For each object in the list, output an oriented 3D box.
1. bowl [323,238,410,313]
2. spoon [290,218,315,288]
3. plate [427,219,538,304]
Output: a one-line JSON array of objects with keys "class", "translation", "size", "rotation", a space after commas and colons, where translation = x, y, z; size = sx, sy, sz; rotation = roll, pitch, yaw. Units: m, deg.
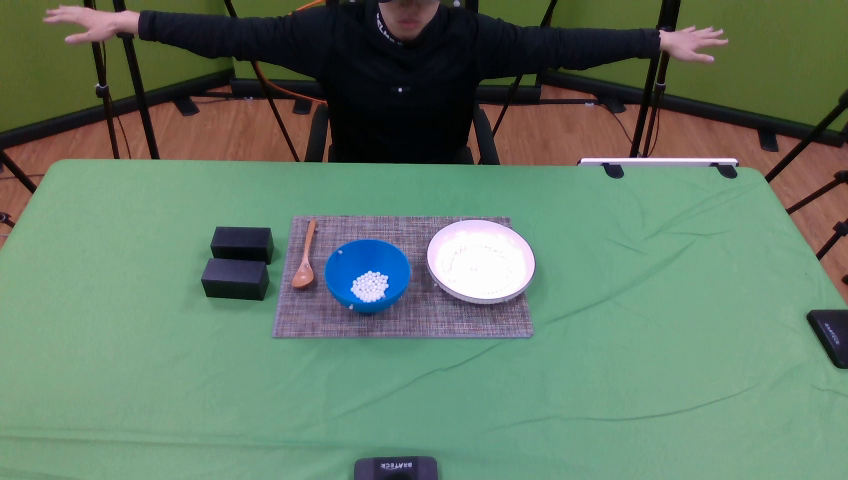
[{"class": "bowl", "translation": [-0.101, 0.077, 1.073], "size": [0.151, 0.077, 0.150], "rotation": [2, 46, -2]}, {"class": "spoon", "translation": [-0.224, 0.021, 1.156], "size": [0.041, 0.022, 0.192], "rotation": [-11, 46, 10]}, {"class": "plate", "translation": [0.109, 0.044, 1.149], "size": [0.208, 0.039, 0.206], "rotation": [2, 46, -2]}]
